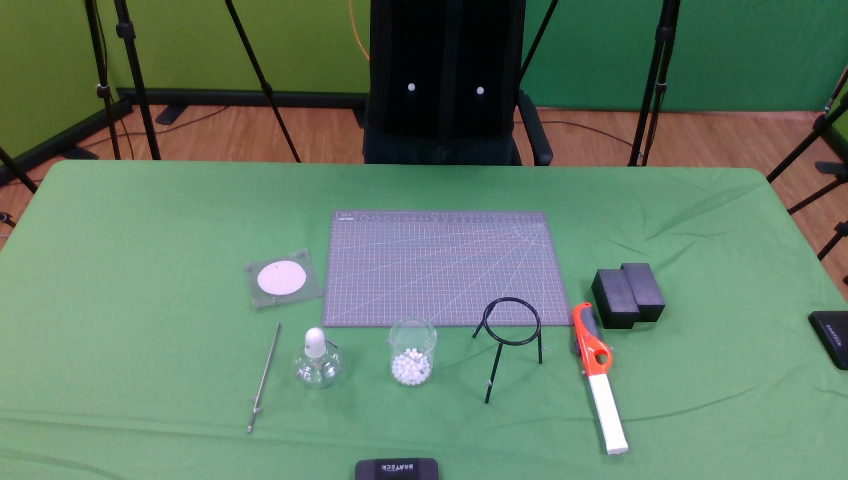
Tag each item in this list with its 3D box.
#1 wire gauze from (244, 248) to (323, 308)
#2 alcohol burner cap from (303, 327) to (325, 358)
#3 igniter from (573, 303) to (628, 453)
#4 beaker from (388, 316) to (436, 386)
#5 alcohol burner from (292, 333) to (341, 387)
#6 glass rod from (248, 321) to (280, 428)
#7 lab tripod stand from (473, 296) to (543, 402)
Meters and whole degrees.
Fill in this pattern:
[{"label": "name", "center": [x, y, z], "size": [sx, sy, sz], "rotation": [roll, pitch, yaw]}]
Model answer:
[{"label": "wire gauze", "center": [-0.262, 0.071, 1.121], "size": [0.125, 0.011, 0.120], "rotation": [-11, 48, -17]}, {"label": "alcohol burner cap", "center": [-0.169, 0.154, 0.925], "size": [0.034, 0.048, 0.033], "rotation": [4, 41, -3]}, {"label": "igniter", "center": [0.288, 0.216, 1.006], "size": [0.057, 0.025, 0.274], "rotation": [-10, 46, 8]}, {"label": "beaker", "center": [-0.019, 0.183, 0.968], "size": [0.074, 0.101, 0.083], "rotation": [-7, 48, -10]}, {"label": "alcohol burner", "center": [-0.170, 0.179, 0.950], "size": [0.078, 0.120, 0.077], "rotation": [2, 48, -2]}, {"label": "glass rod", "center": [-0.257, 0.213, 0.984], "size": [0.008, 0.008, 0.198], "rotation": [4, 46, 1]}, {"label": "lab tripod stand", "center": [0.132, 0.168, 0.969], "size": [0.148, 0.132, 0.147], "rotation": [3, 48, -3]}]
